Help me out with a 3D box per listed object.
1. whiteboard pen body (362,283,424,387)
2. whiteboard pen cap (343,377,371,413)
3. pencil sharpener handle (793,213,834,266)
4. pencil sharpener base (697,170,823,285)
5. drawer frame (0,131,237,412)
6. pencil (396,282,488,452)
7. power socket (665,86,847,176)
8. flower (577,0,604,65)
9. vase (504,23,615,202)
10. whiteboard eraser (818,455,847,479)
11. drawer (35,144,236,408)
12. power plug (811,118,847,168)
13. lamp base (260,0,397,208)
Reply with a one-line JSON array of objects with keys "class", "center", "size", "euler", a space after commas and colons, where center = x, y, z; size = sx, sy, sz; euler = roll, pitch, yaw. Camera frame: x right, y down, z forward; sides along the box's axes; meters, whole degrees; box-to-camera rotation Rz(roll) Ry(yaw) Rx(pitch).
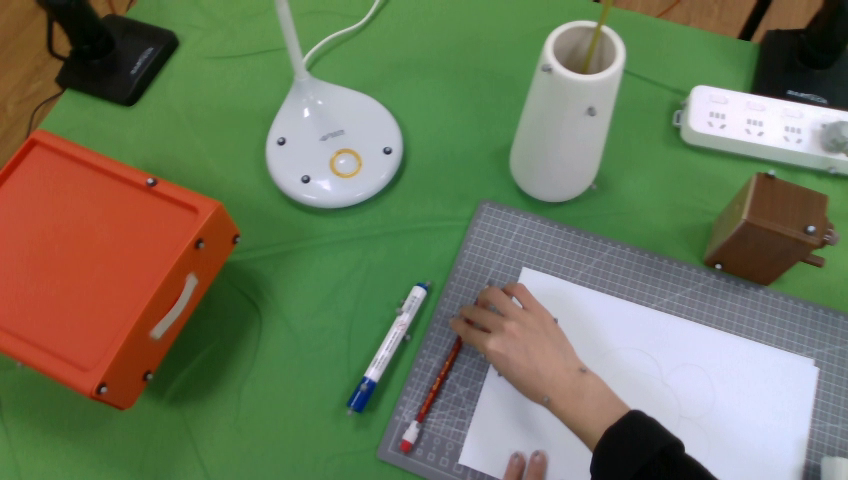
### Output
[{"class": "whiteboard pen body", "center": [-0.036, 0.103, 0.610], "size": [0.017, 0.017, 0.140], "euler": [22, 63, 13]}, {"class": "whiteboard pen cap", "center": [-0.064, 0.148, 0.584], "size": [0.018, 0.018, 0.033], "euler": [23, 61, 13]}, {"class": "pencil sharpener handle", "center": [0.380, 0.003, 0.586], "size": [0.030, 0.068, 0.036], "euler": [21, 65, 11]}, {"class": "pencil sharpener base", "center": [0.334, -0.009, 0.606], "size": [0.076, 0.108, 0.061], "euler": [21, 66, 11]}, {"class": "drawer frame", "center": [-0.328, 0.025, 0.576], "size": [0.213, 0.083, 0.200], "euler": [21, 68, 9]}, {"class": "pencil", "center": [0.023, 0.121, 0.604], "size": [0.012, 0.012, 0.193], "euler": [25, 67, 14]}, {"class": "power socket", "center": [0.399, -0.127, 0.702], "size": [0.226, 0.033, 0.072], "euler": [13, 66, 7]}, {"class": "flower", "center": [0.145, -0.171, 0.547], "size": [0.038, 0.364, 0.043], "euler": [7, 46, -2]}, {"class": "vase", "center": [0.135, -0.122, 0.615], "size": [0.098, 0.201, 0.097], "euler": [-1, 63, 3]}, {"class": "whiteboard eraser", "center": [0.368, 0.246, 0.517], "size": [0.055, 0.042, 0.112], "euler": [13, 65, 6]}, {"class": "drawer", "center": [-0.322, 0.025, 0.574], "size": [0.211, 0.074, 0.193], "euler": [21, 68, 11]}, {"class": "power plug", "center": [0.440, -0.101, 0.663], "size": [0.035, 0.053, 0.072], "euler": [22, 69, 13]}, {"class": "lamp base", "center": [-0.122, -0.151, 0.647], "size": [0.160, 0.182, 0.177], "euler": [-33, 65, -14]}]
